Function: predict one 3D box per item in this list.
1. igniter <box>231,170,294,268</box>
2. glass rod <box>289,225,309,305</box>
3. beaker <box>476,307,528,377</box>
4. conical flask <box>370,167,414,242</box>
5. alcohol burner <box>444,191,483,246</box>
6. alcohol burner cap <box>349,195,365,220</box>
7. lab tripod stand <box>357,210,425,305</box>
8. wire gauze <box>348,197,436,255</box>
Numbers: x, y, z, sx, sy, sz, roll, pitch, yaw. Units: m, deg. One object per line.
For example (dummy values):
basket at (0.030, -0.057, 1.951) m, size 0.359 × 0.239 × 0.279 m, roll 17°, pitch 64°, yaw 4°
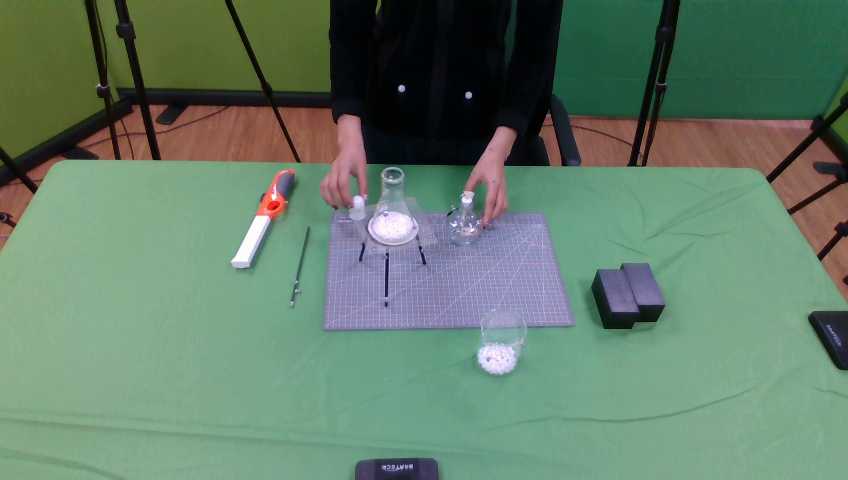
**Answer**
igniter at (-0.321, -0.051, 1.220) m, size 0.057 × 0.025 × 0.275 m, roll 2°, pitch 45°, yaw 11°
glass rod at (-0.235, 0.043, 1.149) m, size 0.008 × 0.008 × 0.198 m, roll 3°, pitch 46°, yaw -1°
beaker at (0.122, 0.171, 0.991) m, size 0.084 × 0.101 × 0.073 m, roll -34°, pitch 56°, yaw -30°
conical flask at (-0.053, -0.062, 1.000) m, size 0.075 × 0.122 × 0.075 m, roll 2°, pitch 44°, yaw -2°
alcohol burner at (0.079, -0.047, 1.184) m, size 0.078 × 0.120 × 0.077 m, roll 1°, pitch 45°, yaw -1°
alcohol burner cap at (-0.132, -0.066, 1.185) m, size 0.034 × 0.048 × 0.033 m, roll 2°, pitch 41°, yaw -1°
lab tripod stand at (-0.060, 0.020, 1.094) m, size 0.148 × 0.132 × 0.147 m, roll 3°, pitch 44°, yaw -2°
wire gauze at (-0.056, -0.025, 1.046) m, size 0.125 × 0.011 × 0.120 m, roll -13°, pitch 46°, yaw -15°
